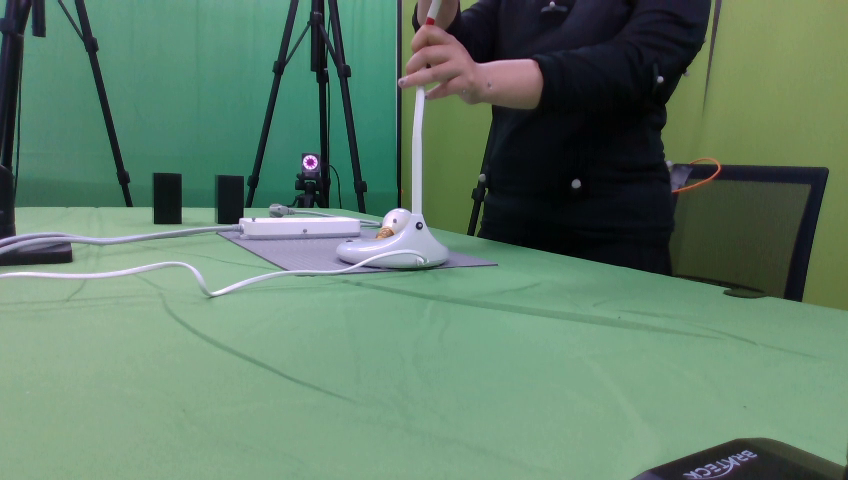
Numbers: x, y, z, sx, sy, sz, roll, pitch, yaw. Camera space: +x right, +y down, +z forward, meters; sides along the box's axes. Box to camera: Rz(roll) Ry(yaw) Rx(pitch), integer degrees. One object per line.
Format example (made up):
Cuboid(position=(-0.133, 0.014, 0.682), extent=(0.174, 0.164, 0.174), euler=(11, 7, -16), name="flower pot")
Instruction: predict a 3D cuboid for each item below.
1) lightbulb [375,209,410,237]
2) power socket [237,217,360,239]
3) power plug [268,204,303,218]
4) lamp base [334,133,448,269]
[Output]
Cuboid(position=(-0.052, -0.016, 1.023), extent=(0.059, 0.059, 0.108), euler=(6, 23, 21), name="lightbulb")
Cuboid(position=(-0.221, -0.023, 1.080), extent=(0.228, 0.032, 0.072), euler=(-2, 8, -32), name="power socket")
Cuboid(position=(-0.327, -0.060, 1.404), extent=(0.073, 0.035, 0.052), euler=(22, -14, -25), name="power plug")
Cuboid(position=(-0.034, -0.057, 0.831), extent=(0.161, 0.180, 0.178), euler=(-3, 11, -36), name="lamp base")
